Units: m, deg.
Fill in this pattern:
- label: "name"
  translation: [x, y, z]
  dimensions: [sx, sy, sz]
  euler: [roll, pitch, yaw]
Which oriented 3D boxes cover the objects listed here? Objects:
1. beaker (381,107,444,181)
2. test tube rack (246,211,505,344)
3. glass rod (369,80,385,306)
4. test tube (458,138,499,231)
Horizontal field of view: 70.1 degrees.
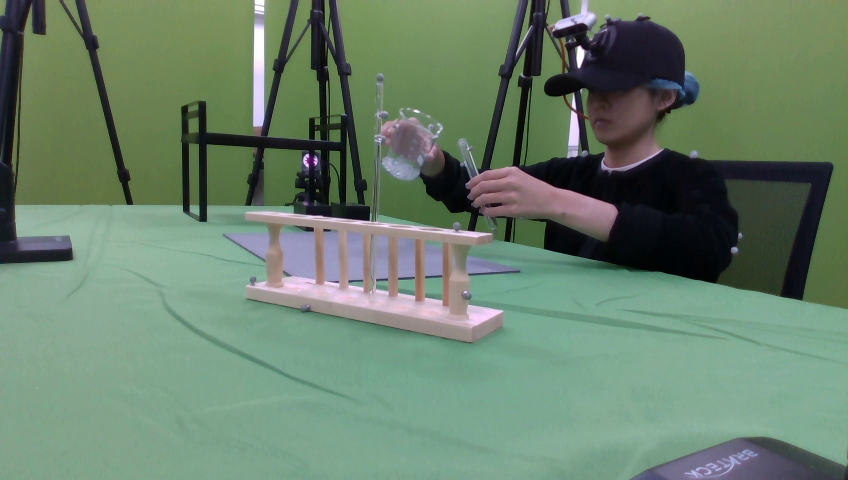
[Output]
- label: "beaker"
  translation: [-0.020, -0.152, 0.981]
  dimensions: [0.074, 0.100, 0.083]
  euler: [-6, 42, -46]
- label: "test tube rack"
  translation: [-0.049, 0.025, 0.547]
  dimensions: [0.241, 0.085, 0.067]
  euler: [7, 8, 29]
- label: "glass rod"
  translation: [-0.041, -0.039, 0.530]
  dimensions: [0.008, 0.199, 0.008]
  euler: [3, 2, 0]
- label: "test tube"
  translation: [0.083, -0.085, 0.923]
  dimensions: [0.017, 0.150, 0.017]
  euler: [-19, -6, -2]
